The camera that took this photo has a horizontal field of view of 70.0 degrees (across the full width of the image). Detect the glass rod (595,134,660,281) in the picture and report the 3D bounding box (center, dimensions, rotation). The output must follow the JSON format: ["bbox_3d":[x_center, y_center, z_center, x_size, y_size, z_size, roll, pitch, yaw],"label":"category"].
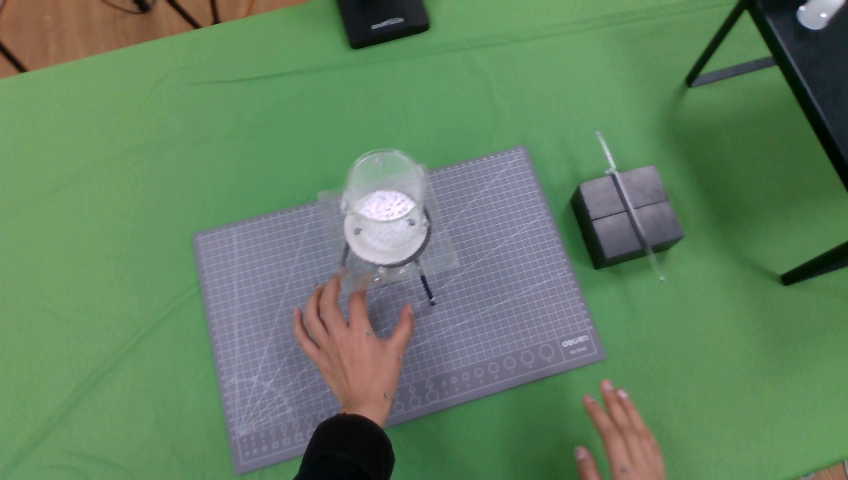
[{"bbox_3d":[0.246,-0.043,0.736,0.008,0.008,0.198,-15,73,-5],"label":"glass rod"}]

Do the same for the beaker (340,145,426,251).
[{"bbox_3d":[-0.039,-0.034,0.592,0.084,0.101,0.073,-31,74,-10],"label":"beaker"}]

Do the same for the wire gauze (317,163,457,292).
[{"bbox_3d":[-0.040,-0.014,0.636,0.125,0.011,0.120,-14,73,-8],"label":"wire gauze"}]

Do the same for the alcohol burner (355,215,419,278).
[{"bbox_3d":[-0.043,0.003,0.710,0.078,0.119,0.077,0,73,-1],"label":"alcohol burner"}]

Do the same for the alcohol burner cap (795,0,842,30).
[{"bbox_3d":[0.426,-0.253,0.649,0.034,0.048,0.033,0,71,-1],"label":"alcohol burner cap"}]

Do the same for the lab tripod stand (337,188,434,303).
[{"bbox_3d":[-0.038,0.002,0.700,0.148,0.132,0.147,0,70,1],"label":"lab tripod stand"}]
